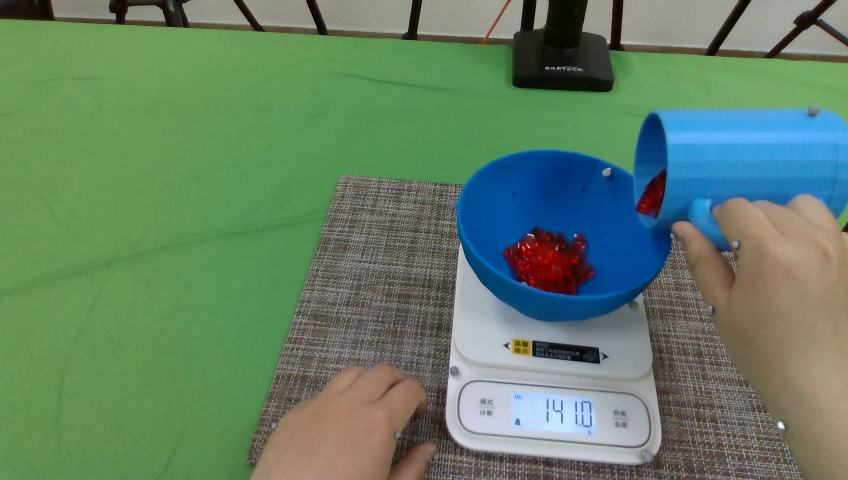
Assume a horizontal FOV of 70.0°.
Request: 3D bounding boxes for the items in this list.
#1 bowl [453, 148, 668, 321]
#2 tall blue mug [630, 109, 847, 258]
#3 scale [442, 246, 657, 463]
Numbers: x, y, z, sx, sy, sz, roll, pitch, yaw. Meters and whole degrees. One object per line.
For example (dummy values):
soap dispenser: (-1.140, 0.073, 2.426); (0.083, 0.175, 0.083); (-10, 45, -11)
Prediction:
bowl: (0.094, 0.008, 0.452); (0.151, 0.077, 0.150); (1, 47, -1)
tall blue mug: (0.196, -0.040, 0.375); (0.108, 0.078, 0.106); (0, 16, 3)
scale: (0.095, 0.067, 0.470); (0.148, 0.032, 0.199); (4, 47, 4)
